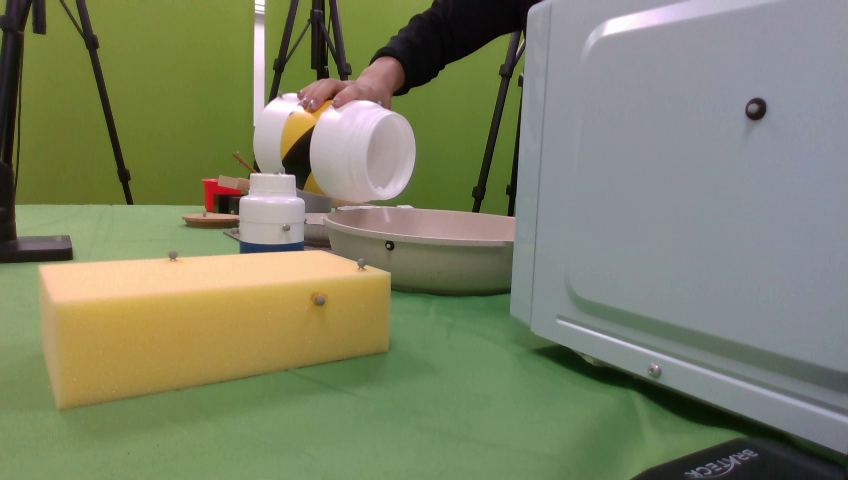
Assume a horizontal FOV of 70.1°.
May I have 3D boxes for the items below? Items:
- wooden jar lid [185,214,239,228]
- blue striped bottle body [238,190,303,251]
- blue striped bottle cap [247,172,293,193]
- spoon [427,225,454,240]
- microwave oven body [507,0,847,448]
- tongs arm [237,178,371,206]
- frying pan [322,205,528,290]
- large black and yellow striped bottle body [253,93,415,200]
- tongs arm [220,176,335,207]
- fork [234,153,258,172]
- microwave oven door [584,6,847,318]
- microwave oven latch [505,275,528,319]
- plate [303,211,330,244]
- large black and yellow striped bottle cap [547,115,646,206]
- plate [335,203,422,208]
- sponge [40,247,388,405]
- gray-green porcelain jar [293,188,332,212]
[{"bbox_3d":[-0.404,-0.037,1.169,0.108,0.020,0.108,3,7,0],"label":"wooden jar lid"},{"bbox_3d":[-0.153,-0.007,0.605,0.063,0.120,0.063,2,7,0],"label":"blue striped bottle body"},{"bbox_3d":[-0.152,-0.057,0.598,0.044,0.020,0.044,3,6,0],"label":"blue striped bottle cap"},{"bbox_3d":[0.024,-0.019,1.125,0.042,0.021,0.193,-15,9,-4],"label":"spoon"},{"bbox_3d":[0.331,-0.042,0.425,0.444,0.260,0.324,-2,8,-31],"label":"microwave oven body"},{"bbox_3d":[-0.241,-0.095,1.374,0.387,0.026,0.050,9,1,-37],"label":"tongs arm"},{"bbox_3d":[0.109,-0.018,0.800,0.490,0.102,0.305,-12,16,-30],"label":"frying pan"},{"bbox_3d":[-0.116,-0.123,0.796,0.183,0.130,0.131,12,12,32],"label":"large black and yellow striped bottle body"},{"bbox_3d":[-0.285,-0.105,1.445,0.389,0.027,0.028,9,-3,-23],"label":"tongs arm"},{"bbox_3d":[-0.396,-0.143,1.486,0.028,0.018,0.208,20,-26,45],"label":"fork"},{"bbox_3d":[0.296,-0.067,0.568,0.358,0.243,0.039,-3,8,-31],"label":"microwave oven door"},{"bbox_3d":[0.100,0.042,0.471,0.079,0.029,0.030,-1,7,-29],"label":"microwave oven latch"},{"bbox_3d":[-0.139,-0.022,1.021,0.209,0.038,0.209,2,8,0],"label":"plate"},{"bbox_3d":[0.202,-0.094,0.712,0.114,0.115,0.019,8,-18,39],"label":"large black and yellow striped bottle cap"},{"bbox_3d":[-0.089,-0.053,1.309,0.208,0.039,0.207,2,8,0],"label":"plate"},{"bbox_3d":[-0.141,0.047,0.420,0.208,0.061,0.117,-3,9,-37],"label":"sponge"},{"bbox_3d":[-0.238,-0.092,1.221,0.106,0.126,0.106,2,7,0],"label":"gray-green porcelain jar"}]
